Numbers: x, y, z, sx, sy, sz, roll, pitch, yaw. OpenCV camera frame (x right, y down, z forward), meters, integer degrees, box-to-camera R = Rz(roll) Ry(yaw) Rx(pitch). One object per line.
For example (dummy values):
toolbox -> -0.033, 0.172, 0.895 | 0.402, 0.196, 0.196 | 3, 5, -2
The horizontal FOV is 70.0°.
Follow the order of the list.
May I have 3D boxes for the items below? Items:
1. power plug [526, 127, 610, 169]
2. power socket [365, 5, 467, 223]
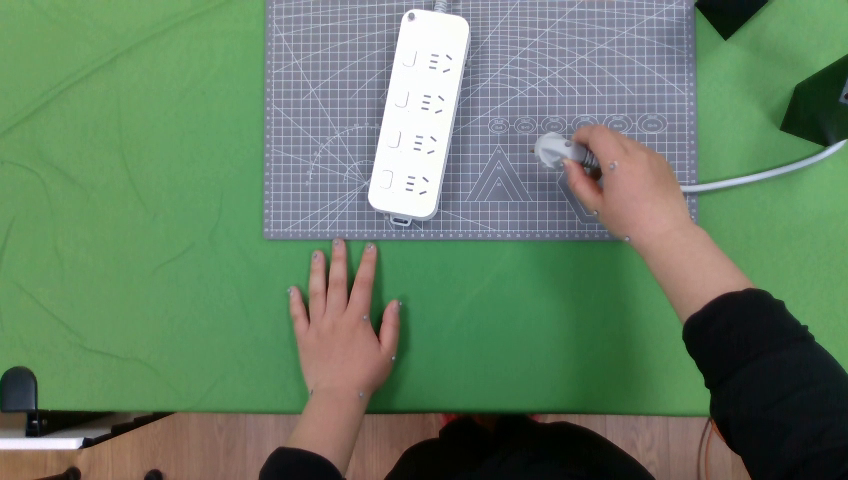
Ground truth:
power plug -> 0.132, -0.078, 0.578 | 0.073, 0.052, 0.035 | 39, 76, -16
power socket -> -0.008, -0.130, 0.621 | 0.072, 0.032, 0.226 | 10, 88, 3
